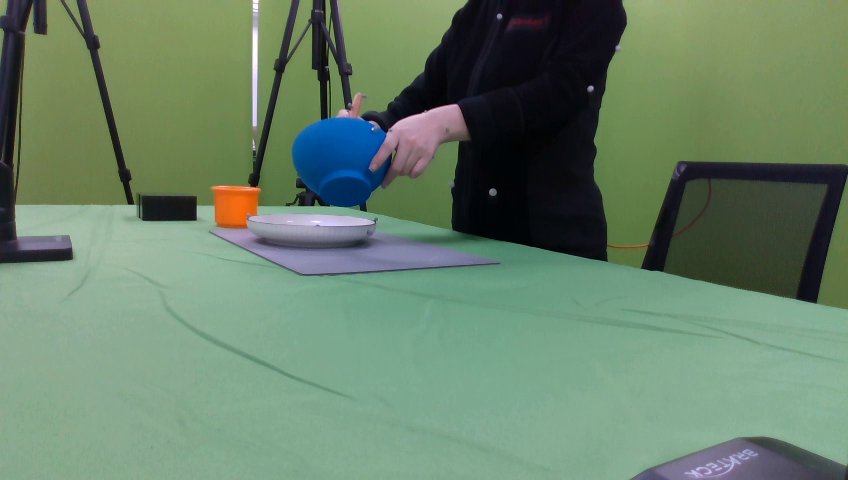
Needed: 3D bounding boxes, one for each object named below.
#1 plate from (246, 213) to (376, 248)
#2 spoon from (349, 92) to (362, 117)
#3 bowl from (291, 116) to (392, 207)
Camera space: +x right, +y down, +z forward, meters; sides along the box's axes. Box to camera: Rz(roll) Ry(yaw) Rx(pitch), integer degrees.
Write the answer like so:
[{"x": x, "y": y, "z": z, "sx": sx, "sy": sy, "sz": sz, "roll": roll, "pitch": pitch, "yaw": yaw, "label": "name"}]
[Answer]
[{"x": -0.185, "y": -0.017, "z": 0.994, "sx": 0.209, "sy": 0.038, "sz": 0.209, "roll": 3, "pitch": 8, "yaw": 0, "label": "plate"}, {"x": -0.125, "y": -0.159, "z": 0.956, "sx": 0.041, "sy": 0.193, "sz": 0.022, "roll": 2, "pitch": -33, "yaw": 15, "label": "spoon"}, {"x": -0.118, "y": -0.101, "z": 0.883, "sx": 0.151, "sy": 0.076, "sz": 0.151, "roll": -6, "pitch": -33, "yaw": -4, "label": "bowl"}]
